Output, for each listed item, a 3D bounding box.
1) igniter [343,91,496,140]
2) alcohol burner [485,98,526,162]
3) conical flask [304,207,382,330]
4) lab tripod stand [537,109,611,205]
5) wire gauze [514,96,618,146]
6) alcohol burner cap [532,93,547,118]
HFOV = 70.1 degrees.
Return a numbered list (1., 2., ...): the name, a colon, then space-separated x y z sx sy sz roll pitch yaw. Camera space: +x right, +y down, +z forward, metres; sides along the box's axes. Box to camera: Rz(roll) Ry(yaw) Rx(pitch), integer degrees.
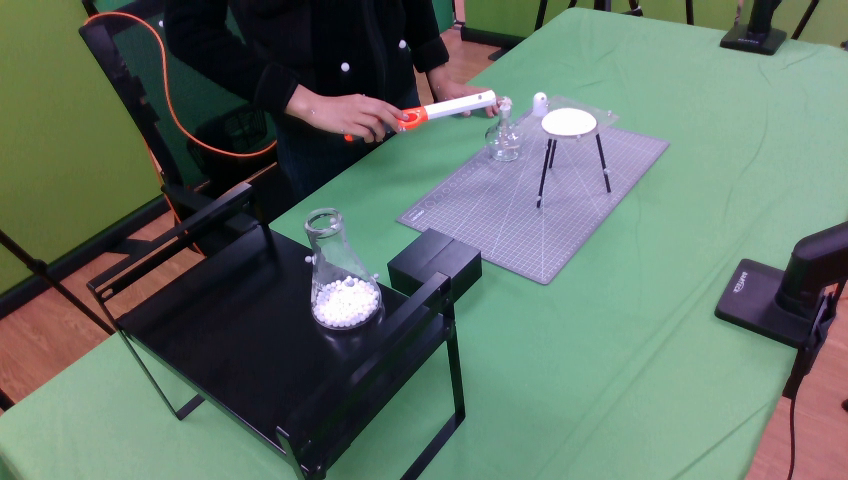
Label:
1. igniter: -0.009 -0.218 1.061 0.277 0.025 0.057 -14 41 -7
2. alcohol burner: 0.151 -0.208 1.122 0.078 0.119 0.077 -5 39 4
3. conical flask: -0.087 0.025 0.601 0.075 0.122 0.075 -5 40 5
4. lab tripod stand: 0.244 -0.141 1.014 0.148 0.132 0.147 -3 39 3
5. wire gauze: 0.229 -0.190 0.969 0.120 0.011 0.125 26 50 33
6. alcohol burner cap: 0.240 -0.281 1.251 0.034 0.048 0.033 -4 42 4
